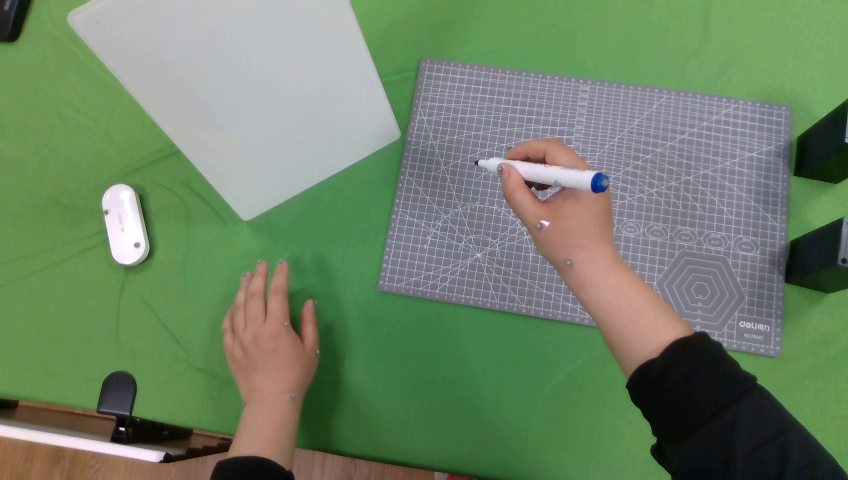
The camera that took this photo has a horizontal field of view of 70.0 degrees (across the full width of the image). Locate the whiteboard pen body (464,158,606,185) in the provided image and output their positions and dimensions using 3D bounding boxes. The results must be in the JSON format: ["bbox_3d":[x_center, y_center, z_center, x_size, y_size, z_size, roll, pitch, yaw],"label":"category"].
[{"bbox_3d":[0.081,-0.056,0.479,0.139,0.017,0.017,12,74,48],"label":"whiteboard pen body"}]

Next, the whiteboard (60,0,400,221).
[{"bbox_3d":[-0.185,-0.201,0.637,0.217,0.308,0.142,-30,57,-3],"label":"whiteboard"}]

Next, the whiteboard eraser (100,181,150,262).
[{"bbox_3d":[-0.355,-0.022,0.718,0.041,0.019,0.101,-18,78,-2],"label":"whiteboard eraser"}]
